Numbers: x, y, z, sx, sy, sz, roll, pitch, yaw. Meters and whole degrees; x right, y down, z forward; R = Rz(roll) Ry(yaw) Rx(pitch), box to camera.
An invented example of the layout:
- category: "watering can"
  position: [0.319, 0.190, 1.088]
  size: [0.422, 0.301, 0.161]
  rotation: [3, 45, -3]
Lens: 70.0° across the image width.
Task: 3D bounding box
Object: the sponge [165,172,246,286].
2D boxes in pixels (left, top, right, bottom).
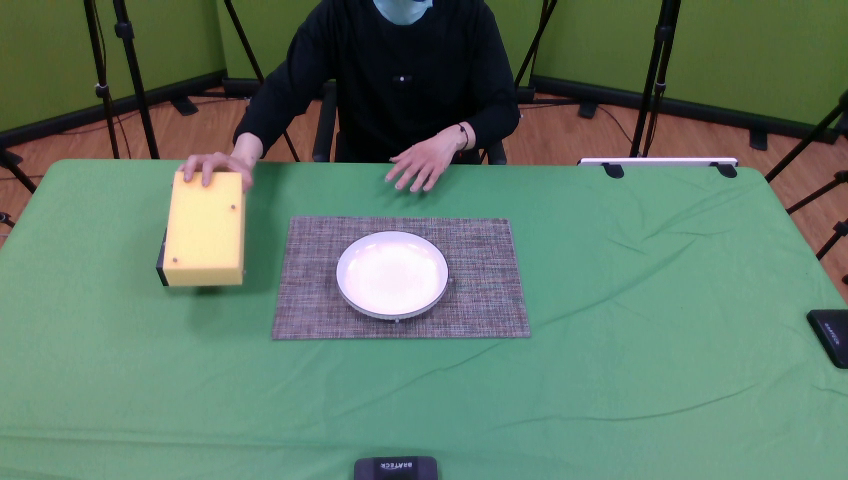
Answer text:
- category: "sponge"
  position: [-0.380, -0.022, 1.068]
  size: [0.118, 0.061, 0.205]
  rotation: [-2, 57, -11]

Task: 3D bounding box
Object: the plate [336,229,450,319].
- category: "plate"
  position: [-0.056, 0.065, 1.113]
  size: [0.208, 0.039, 0.206]
  rotation: [2, 46, -2]
